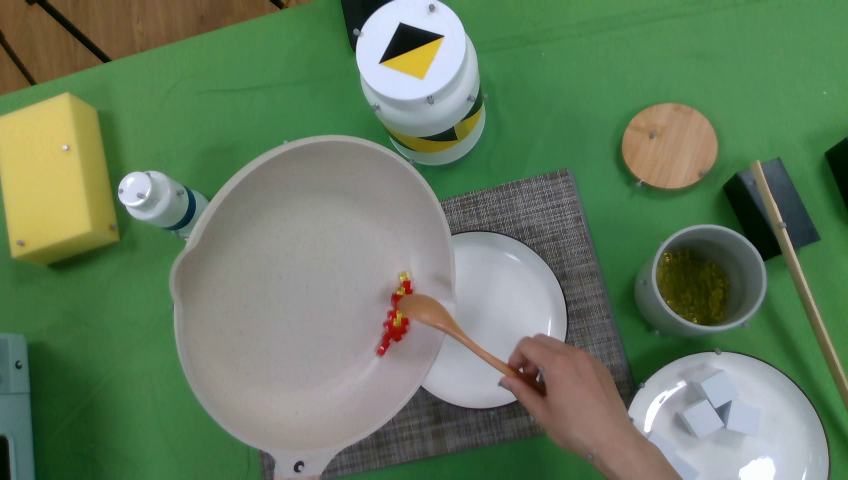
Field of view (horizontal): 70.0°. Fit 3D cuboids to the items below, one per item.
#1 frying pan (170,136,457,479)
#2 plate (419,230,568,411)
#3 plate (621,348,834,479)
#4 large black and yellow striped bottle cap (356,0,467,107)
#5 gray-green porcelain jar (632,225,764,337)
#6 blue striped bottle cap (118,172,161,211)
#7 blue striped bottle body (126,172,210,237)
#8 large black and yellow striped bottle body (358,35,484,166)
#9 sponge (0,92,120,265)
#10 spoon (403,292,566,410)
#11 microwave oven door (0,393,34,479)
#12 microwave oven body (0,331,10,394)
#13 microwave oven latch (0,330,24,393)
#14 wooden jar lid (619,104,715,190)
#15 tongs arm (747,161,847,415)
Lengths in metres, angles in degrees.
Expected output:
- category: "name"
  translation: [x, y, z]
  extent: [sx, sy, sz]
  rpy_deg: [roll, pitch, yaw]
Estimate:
- category: "frying pan"
  translation: [-0.108, 0.152, 0.557]
  extent: [0.102, 0.309, 0.486]
  rpy_deg: [-2, 77, 47]
- category: "plate"
  translation: [0.063, 0.092, 0.712]
  extent: [0.209, 0.038, 0.208]
  rpy_deg: [-2, 79, 9]
- category: "plate"
  translation: [0.318, 0.221, 0.651]
  extent: [0.207, 0.039, 0.206]
  rpy_deg: [-2, 79, 9]
- category: "large black and yellow striped bottle cap"
  translation: [-0.013, -0.194, 0.623]
  extent: [0.115, 0.019, 0.114]
  rpy_deg: [-2, 80, 9]
- category: "gray-green porcelain jar"
  translation: [0.282, 0.049, 0.644]
  extent: [0.106, 0.127, 0.105]
  rpy_deg: [-2, 78, 9]
- category: "blue striped bottle cap"
  translation: [-0.335, -0.057, 0.713]
  extent: [0.044, 0.021, 0.044]
  rpy_deg: [-1, 80, 8]
- category: "blue striped bottle body"
  translation: [-0.326, -0.046, 0.762]
  extent: [0.063, 0.121, 0.063]
  rpy_deg: [-2, 78, 9]
- category: "large black and yellow striped bottle body"
  translation: [-0.001, -0.175, 0.704]
  extent: [0.130, 0.185, 0.130]
  rpy_deg: [-2, 78, 9]
- category: "sponge"
  translation: [-0.503, -0.082, 0.828]
  extent: [0.118, 0.061, 0.205]
  rpy_deg: [-19, 77, 5]
- category: "spoon"
  translation: [0.060, 0.110, 0.604]
  extent: [0.193, 0.042, 0.021]
  rpy_deg: [39, 92, 7]
- category: "microwave oven door"
  translation: [-0.510, 0.345, 0.632]
  extent: [0.039, 0.245, 0.354]
  rpy_deg: [-14, 77, 7]
- category: "microwave oven body"
  translation: [-0.659, 0.339, 0.662]
  extent: [0.326, 0.261, 0.439]
  rpy_deg: [-13, 78, 6]
- category: "microwave oven latch"
  translation: [-0.536, 0.156, 0.779]
  extent: [0.030, 0.029, 0.079]
  rpy_deg: [-10, 78, 7]
- category: "wooden jar lid"
  translation: [0.290, -0.111, 0.729]
  extent: [0.108, 0.021, 0.108]
  rpy_deg: [-2, 80, 9]
- category: "tongs arm"
  translation: [0.429, 0.092, 0.630]
  extent: [0.051, 0.026, 0.384]
  rpy_deg: [-19, 87, 3]
